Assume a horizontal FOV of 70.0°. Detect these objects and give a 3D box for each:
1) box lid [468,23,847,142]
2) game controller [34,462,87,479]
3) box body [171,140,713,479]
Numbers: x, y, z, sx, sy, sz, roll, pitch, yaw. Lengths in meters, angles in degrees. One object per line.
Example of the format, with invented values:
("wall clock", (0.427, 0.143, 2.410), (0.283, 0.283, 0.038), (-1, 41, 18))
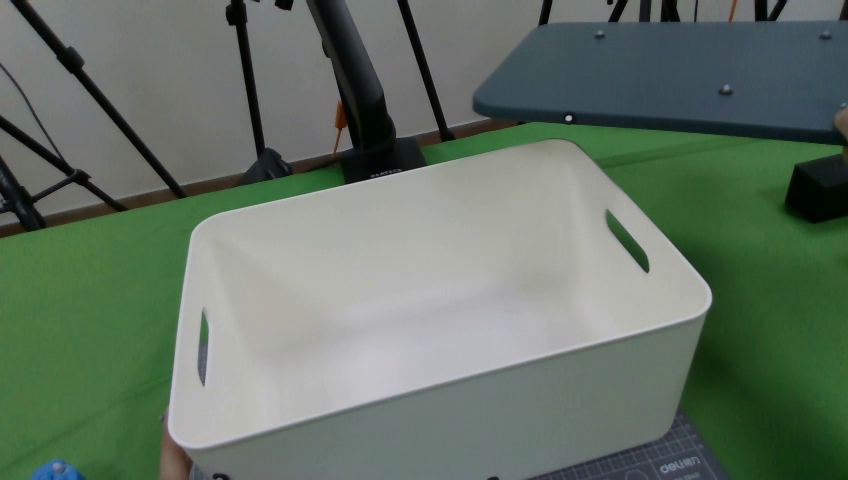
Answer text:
("box lid", (0.243, -0.150, 0.536), (0.370, 0.015, 0.262), (7, 35, 20))
("game controller", (-0.339, 0.240, 0.477), (0.155, 0.052, 0.096), (-22, 36, -18))
("box body", (0.007, 0.074, 0.517), (0.364, 0.162, 0.251), (-14, 38, -6))
